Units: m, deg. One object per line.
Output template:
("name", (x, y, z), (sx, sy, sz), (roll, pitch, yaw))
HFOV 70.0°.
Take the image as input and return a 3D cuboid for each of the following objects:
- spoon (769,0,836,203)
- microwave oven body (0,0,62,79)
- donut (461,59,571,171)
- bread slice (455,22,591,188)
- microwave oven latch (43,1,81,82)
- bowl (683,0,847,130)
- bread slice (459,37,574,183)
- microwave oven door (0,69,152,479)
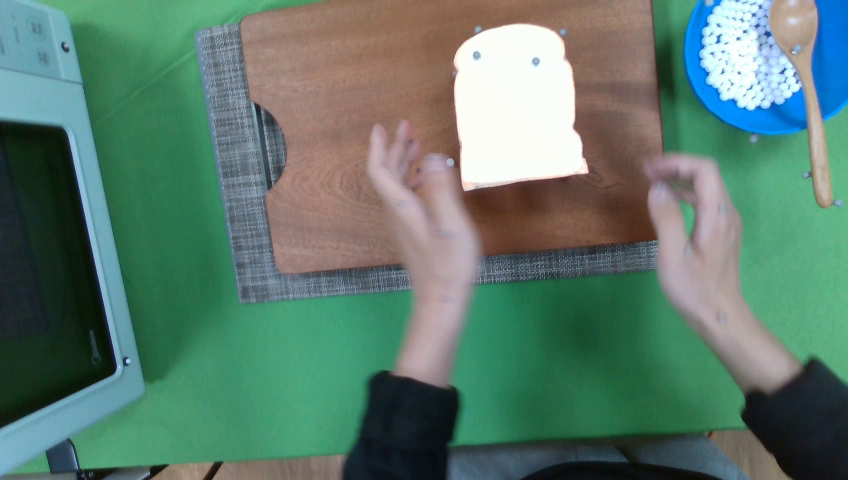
("spoon", (0.320, -0.125, 0.503), (0.041, 0.022, 0.192), (-2, 77, 2))
("microwave oven body", (-0.525, -0.003, 0.594), (0.325, 0.260, 0.442), (-8, 96, 10))
("donut", (0.083, -0.111, 0.547), (0.099, 0.048, 0.099), (1, 99, 9))
("bread slice", (0.077, -0.115, 0.516), (0.107, 0.018, 0.134), (-10, 90, 11))
("microwave oven latch", (-0.393, -0.208, 0.644), (0.030, 0.029, 0.079), (-8, 97, 10))
("bowl", (0.300, -0.170, 0.532), (0.151, 0.077, 0.151), (1, 98, 10))
("bread slice", (0.083, -0.123, 0.575), (0.105, 0.019, 0.132), (-7, 97, 9))
("microwave oven door", (-0.377, 0.018, 0.567), (0.039, 0.244, 0.356), (-9, 95, 11))
